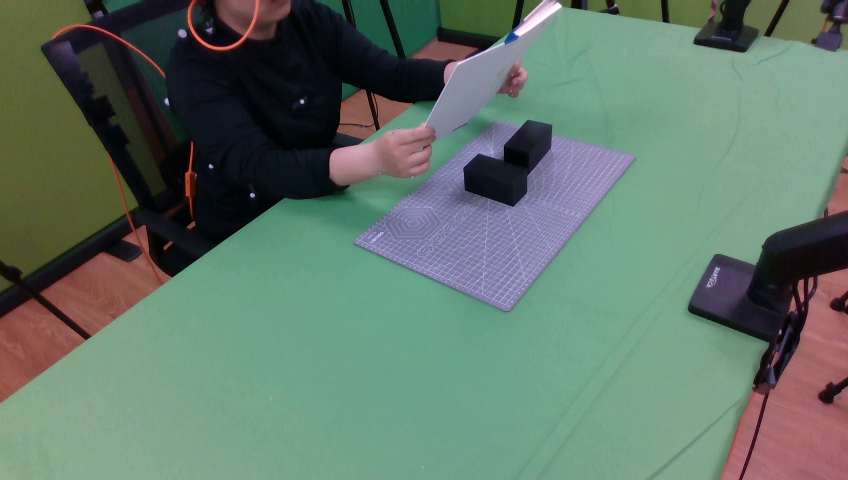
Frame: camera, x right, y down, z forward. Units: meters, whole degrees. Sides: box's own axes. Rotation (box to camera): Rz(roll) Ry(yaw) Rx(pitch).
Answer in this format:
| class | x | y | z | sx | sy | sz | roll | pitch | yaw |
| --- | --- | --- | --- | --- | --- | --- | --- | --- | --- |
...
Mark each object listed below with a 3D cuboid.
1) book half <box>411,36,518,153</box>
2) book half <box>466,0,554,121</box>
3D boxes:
| class | x | y | z | sx | sy | sz | roll | pitch | yaw |
| --- | --- | --- | --- | --- | --- | --- | --- | --- | --- |
| book half | 0.061 | -0.228 | 0.964 | 0.144 | 0.210 | 0.007 | -33 | 78 | -34 |
| book half | 0.143 | -0.310 | 1.046 | 0.016 | 0.210 | 0.149 | 38 | 55 | 3 |
